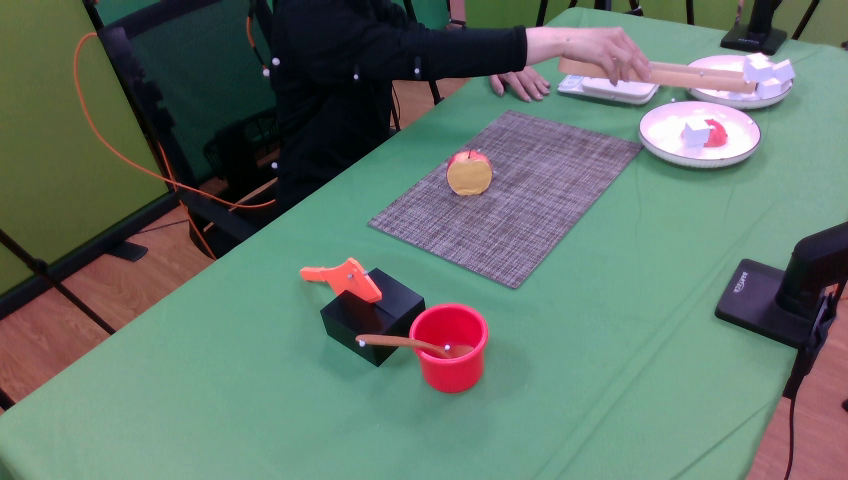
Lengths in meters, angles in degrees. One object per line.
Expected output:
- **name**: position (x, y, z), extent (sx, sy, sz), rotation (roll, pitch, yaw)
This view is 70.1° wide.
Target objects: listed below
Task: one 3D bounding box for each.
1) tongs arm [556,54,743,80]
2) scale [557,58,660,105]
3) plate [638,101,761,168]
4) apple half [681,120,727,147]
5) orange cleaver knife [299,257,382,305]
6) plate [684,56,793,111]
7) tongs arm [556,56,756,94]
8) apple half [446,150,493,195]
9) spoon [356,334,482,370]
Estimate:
- **tongs arm**: position (0.441, -0.328, 1.176), extent (0.389, 0.028, 0.028), rotation (4, 35, -8)
- **scale**: position (0.407, -0.348, 1.314), extent (0.199, 0.032, 0.149), rotation (19, 47, 28)
- **plate**: position (0.500, -0.190, 1.111), extent (0.209, 0.038, 0.208), rotation (-4, 41, 4)
- **apple half**: position (0.518, -0.202, 1.115), extent (0.081, 0.033, 0.081), rotation (-1, 40, 2)
- **orange cleaver knife**: position (-0.124, 0.062, 0.872), extent (0.012, 0.077, 0.210), rotation (-38, 17, -30)
- **plate**: position (0.636, -0.317, 1.239), extent (0.207, 0.039, 0.206), rotation (-4, 40, 4)
- **tongs arm**: position (0.443, -0.313, 1.149), extent (0.386, 0.026, 0.050), rotation (3, 32, -10)
- **apple half**: position (0.080, -0.123, 1.065), extent (0.081, 0.075, 0.053), rotation (-7, 36, 7)
- **spoon**: position (-0.001, 0.130, 0.731), extent (0.195, 0.021, 0.041), rotation (22, 28, -39)
